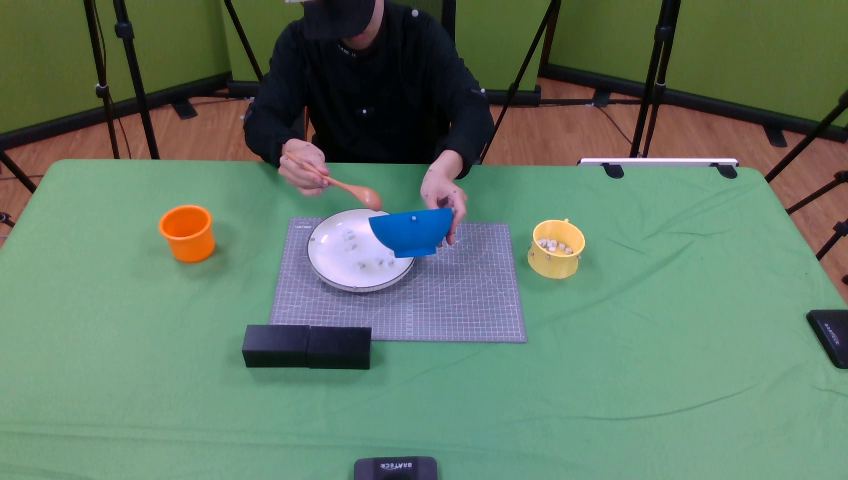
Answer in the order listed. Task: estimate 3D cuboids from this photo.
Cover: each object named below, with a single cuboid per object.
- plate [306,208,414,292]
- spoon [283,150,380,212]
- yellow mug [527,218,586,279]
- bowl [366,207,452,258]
[{"bbox_3d":[-0.119,0.021,1.153,0.209,0.038,0.208,2,46,-2],"label":"plate"},{"bbox_3d":[-0.160,-0.104,1.065,0.194,0.021,0.041,26,52,-14],"label":"spoon"},{"bbox_3d":[0.261,0.006,1.181,0.100,0.064,0.130,18,47,14],"label":"yellow mug"},{"bbox_3d":[-0.021,-0.011,1.059,0.151,0.077,0.151,-7,2,0],"label":"bowl"}]
